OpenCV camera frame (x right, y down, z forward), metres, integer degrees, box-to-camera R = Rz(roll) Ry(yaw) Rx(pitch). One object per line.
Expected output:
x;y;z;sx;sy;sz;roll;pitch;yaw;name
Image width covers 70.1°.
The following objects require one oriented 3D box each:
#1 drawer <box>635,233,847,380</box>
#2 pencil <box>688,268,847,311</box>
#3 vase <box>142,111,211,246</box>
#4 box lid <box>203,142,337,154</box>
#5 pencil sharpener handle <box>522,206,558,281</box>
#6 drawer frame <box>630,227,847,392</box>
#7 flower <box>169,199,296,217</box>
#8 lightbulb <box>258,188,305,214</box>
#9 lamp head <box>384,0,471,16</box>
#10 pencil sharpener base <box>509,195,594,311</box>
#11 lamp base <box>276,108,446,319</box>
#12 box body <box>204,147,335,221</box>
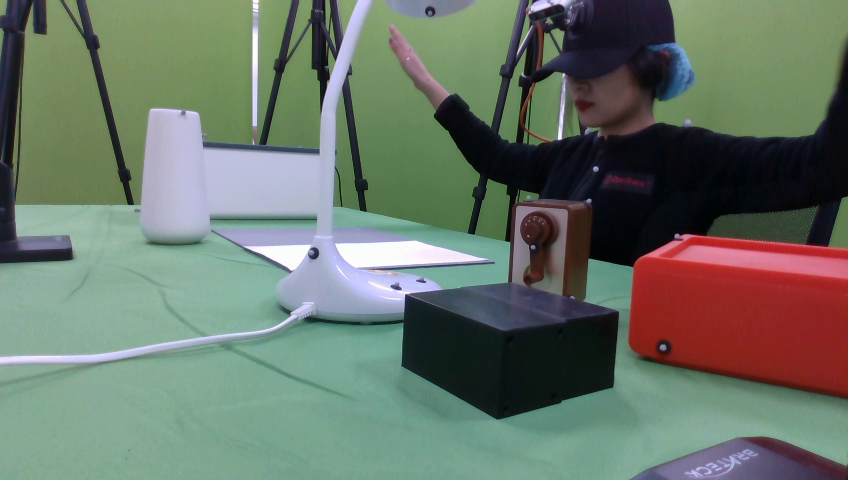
0.292;0.045;0.488;0.193;0.073;0.213;7;10;30;drawer
0.309;0.044;0.515;0.194;0.012;0.012;13;5;-12;pencil
-0.378;-0.093;0.920;0.098;0.200;0.098;2;9;0;vase
-0.405;-0.209;1.377;0.373;0.015;0.262;-1;9;-29;box lid
0.102;0.003;0.555;0.036;0.067;0.031;0;5;31;pencil sharpener handle
0.292;0.043;0.484;0.201;0.082;0.214;7;9;29;drawer frame
-0.423;-0.069;1.399;0.044;0.038;0.363;2;2;31;flower
-0.325;-0.082;1.382;0.108;0.059;0.059;-15;9;-6;lightbulb
-0.001;-0.301;0.599;0.112;0.112;0.123;4;-30;14;lamp head
0.126;0.011;0.601;0.061;0.107;0.077;7;9;30;pencil sharpener base
-0.061;-0.027;0.556;0.160;0.180;0.180;5;10;20;lamp base
-0.411;-0.135;1.386;0.366;0.160;0.253;-2;9;-29;box body
